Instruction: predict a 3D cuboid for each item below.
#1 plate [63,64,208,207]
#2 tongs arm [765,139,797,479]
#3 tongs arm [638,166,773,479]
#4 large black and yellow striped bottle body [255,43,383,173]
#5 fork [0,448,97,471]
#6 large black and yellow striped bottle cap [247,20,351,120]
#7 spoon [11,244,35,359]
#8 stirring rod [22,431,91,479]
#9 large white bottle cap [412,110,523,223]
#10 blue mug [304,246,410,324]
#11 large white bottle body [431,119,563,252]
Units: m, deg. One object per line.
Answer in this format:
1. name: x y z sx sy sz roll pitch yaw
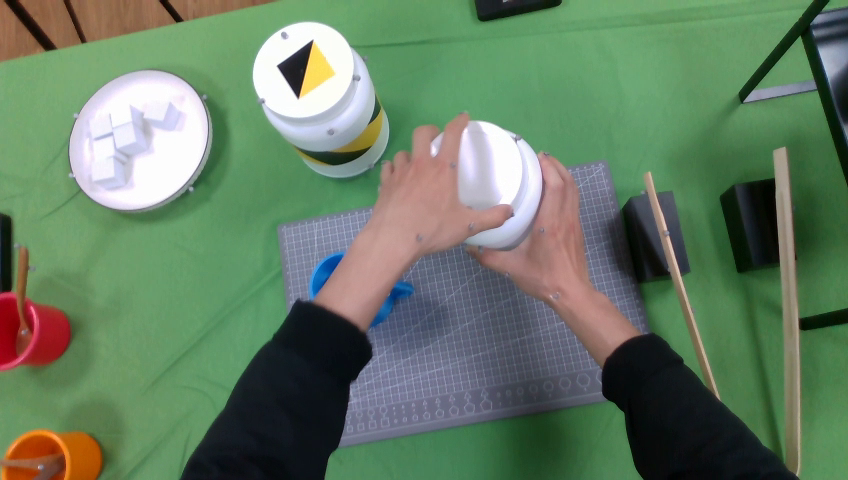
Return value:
1. plate: -0.400 -0.144 0.853 0.207 0.039 0.206 -1 79 6
2. tongs arm: 0.402 0.080 0.690 0.028 0.028 0.387 -2 90 -3
3. tongs arm: 0.321 0.095 0.692 0.051 0.026 0.384 -15 89 0
4. large black and yellow striped bottle body: -0.129 -0.170 0.754 0.130 0.185 0.130 -1 78 6
5. fork: -0.508 0.262 0.726 0.209 0.018 0.028 16 75 -35
6. large black and yellow striped bottle cap: -0.139 -0.190 0.673 0.115 0.019 0.114 -1 79 5
7. spoon: -0.510 0.081 0.765 0.041 0.021 0.195 35 128 15
8. stirring rod: -0.478 0.294 0.722 0.014 0.006 0.175 35 42 9
9. large white bottle cap: 0.043 -0.075 0.612 0.114 0.018 0.114 -4 80 23
10. blue mug: -0.075 0.057 0.741 0.116 0.106 0.082 -4 78 5
11. large white bottle body: 0.077 -0.062 0.689 0.130 0.186 0.130 -4 80 23
